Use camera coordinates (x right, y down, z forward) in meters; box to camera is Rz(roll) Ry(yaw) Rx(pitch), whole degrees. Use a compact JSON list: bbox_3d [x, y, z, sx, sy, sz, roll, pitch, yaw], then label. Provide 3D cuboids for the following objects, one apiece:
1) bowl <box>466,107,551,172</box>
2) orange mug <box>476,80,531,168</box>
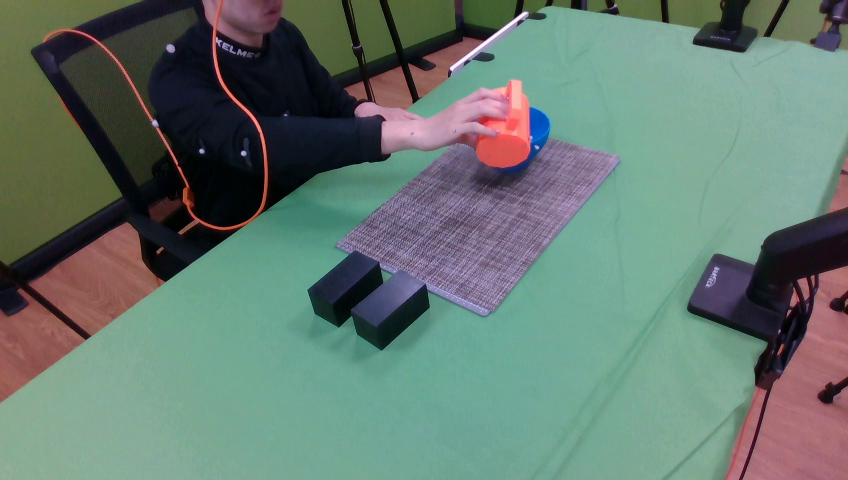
[{"bbox_3d":[0.155,-0.177,1.105,0.151,0.077,0.150,-4,40,4],"label":"bowl"},{"bbox_3d":[0.131,-0.191,0.966,0.084,0.126,0.100,8,54,-7],"label":"orange mug"}]
